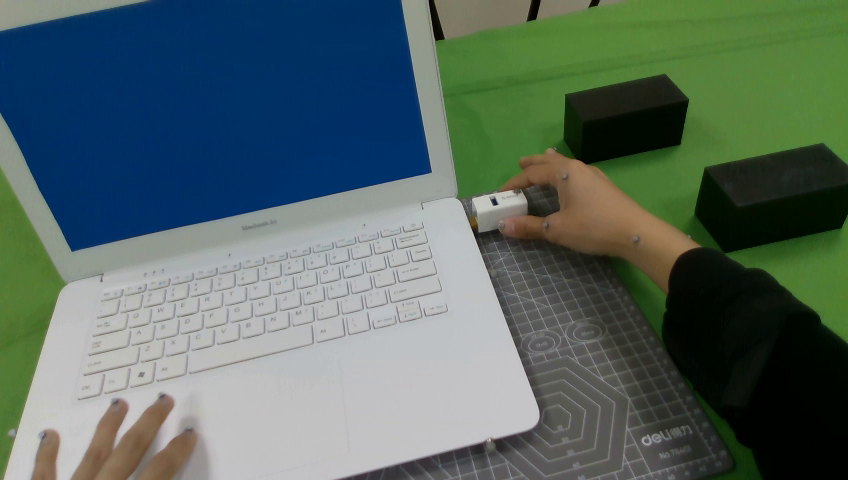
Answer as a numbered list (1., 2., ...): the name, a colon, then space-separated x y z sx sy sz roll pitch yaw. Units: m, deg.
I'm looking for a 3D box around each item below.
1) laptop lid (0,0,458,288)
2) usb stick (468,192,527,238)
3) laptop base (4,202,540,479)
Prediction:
1. laptop lid: -0.159 -0.094 0.484 0.357 0.244 0.013 -14 29 -3
2. usb stick: 0.057 -0.020 0.519 0.059 0.027 0.021 -15 43 -2
3. laptop base: -0.116 0.086 0.456 0.354 0.023 0.233 -13 46 -4
